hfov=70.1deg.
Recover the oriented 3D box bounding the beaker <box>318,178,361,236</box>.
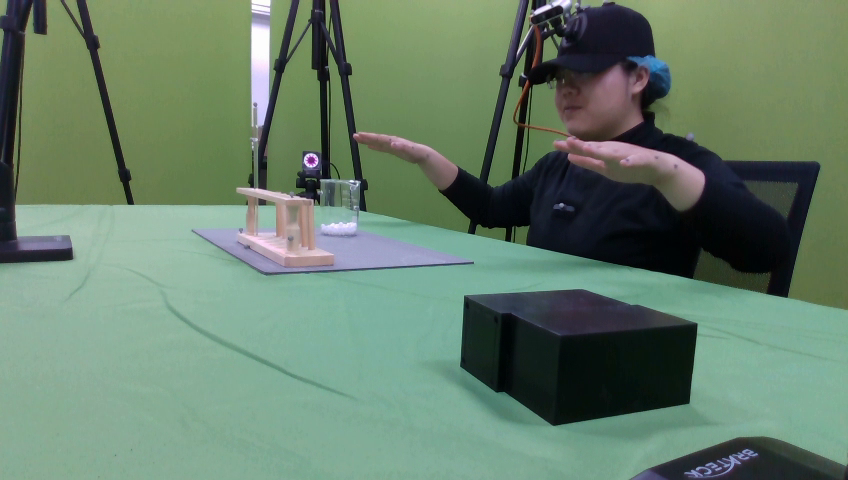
[{"bbox_3d":[-0.150,-0.059,1.087,0.083,0.100,0.074,10,11,40],"label":"beaker"}]

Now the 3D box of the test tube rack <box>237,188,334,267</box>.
[{"bbox_3d":[-0.202,-0.024,0.855,0.067,0.085,0.241,-2,8,-30],"label":"test tube rack"}]

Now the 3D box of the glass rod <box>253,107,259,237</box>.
[{"bbox_3d":[-0.253,-0.101,0.912,0.008,0.199,0.008,1,4,0],"label":"glass rod"}]
